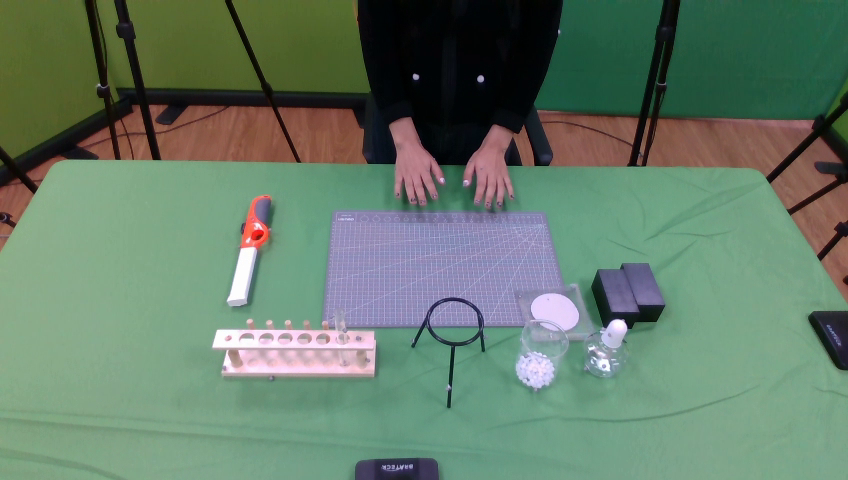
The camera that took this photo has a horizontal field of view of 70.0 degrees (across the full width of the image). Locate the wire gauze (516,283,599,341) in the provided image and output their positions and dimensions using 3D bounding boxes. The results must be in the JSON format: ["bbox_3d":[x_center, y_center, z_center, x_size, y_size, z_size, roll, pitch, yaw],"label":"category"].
[{"bbox_3d":[0.240,0.131,1.094,0.125,0.011,0.120,-3,48,-8],"label":"wire gauze"}]

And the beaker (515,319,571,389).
[{"bbox_3d":[0.186,0.186,0.980,0.074,0.101,0.083,-23,51,-24],"label":"beaker"}]

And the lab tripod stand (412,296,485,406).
[{"bbox_3d":[0.045,0.168,0.963,0.148,0.132,0.147,3,47,-3],"label":"lab tripod stand"}]

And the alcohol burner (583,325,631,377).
[{"bbox_3d":[0.304,0.171,0.991,0.078,0.120,0.077,2,48,-2],"label":"alcohol burner"}]

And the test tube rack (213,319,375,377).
[{"bbox_3d":[-0.202,0.170,0.977,0.242,0.085,0.066,1,46,-3],"label":"test tube rack"}]

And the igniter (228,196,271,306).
[{"bbox_3d":[-0.332,0.011,1.160,0.057,0.025,0.274,-7,46,5],"label":"igniter"}]

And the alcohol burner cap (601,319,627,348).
[{"bbox_3d":[0.305,0.146,0.966,0.034,0.048,0.033,6,41,-5],"label":"alcohol burner cap"}]

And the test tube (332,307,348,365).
[{"bbox_3d":[-0.128,0.151,0.931,0.017,0.151,0.017,1,50,-2],"label":"test tube"}]
